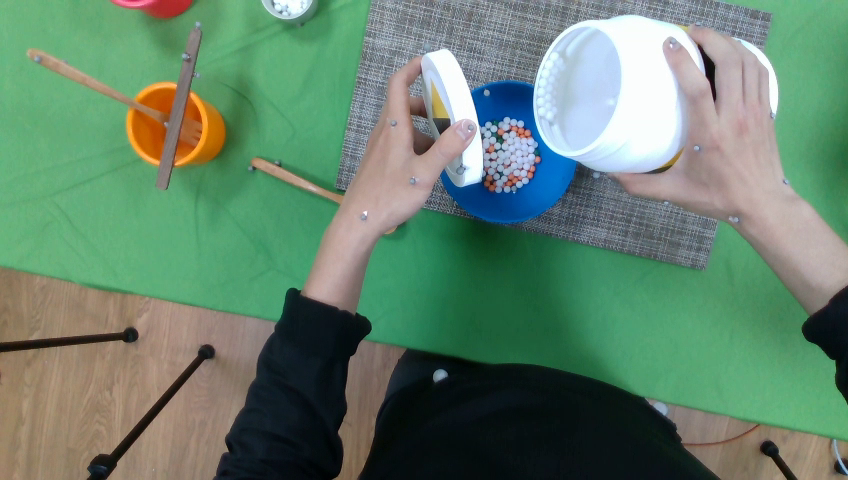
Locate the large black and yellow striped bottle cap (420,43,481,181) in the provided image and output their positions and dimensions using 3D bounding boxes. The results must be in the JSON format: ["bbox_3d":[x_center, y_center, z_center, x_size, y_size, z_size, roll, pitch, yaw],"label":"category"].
[{"bbox_3d":[0.021,-0.107,0.515,0.019,0.114,0.115,-16,94,-8],"label":"large black and yellow striped bottle cap"}]

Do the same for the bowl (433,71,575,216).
[{"bbox_3d":[0.086,-0.103,0.674,0.151,0.076,0.151,0,96,3],"label":"bowl"}]

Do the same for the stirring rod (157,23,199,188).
[{"bbox_3d":[-0.264,-0.143,0.649,0.014,0.006,0.176,14,96,2],"label":"stirring rod"}]

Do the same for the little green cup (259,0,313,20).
[{"bbox_3d":[-0.155,-0.282,0.688,0.061,0.038,0.061,0,96,3],"label":"little green cup"}]

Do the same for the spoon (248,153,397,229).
[{"bbox_3d":[-0.121,-0.064,0.718,0.194,0.021,0.042,23,110,-1],"label":"spoon"}]

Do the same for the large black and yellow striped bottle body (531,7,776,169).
[{"bbox_3d":[0.200,-0.131,0.539,0.185,0.130,0.131,-2,96,-29],"label":"large black and yellow striped bottle body"}]

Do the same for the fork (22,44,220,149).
[{"bbox_3d":[-0.317,-0.152,0.653,0.209,0.018,0.028,26,101,-44],"label":"fork"}]
